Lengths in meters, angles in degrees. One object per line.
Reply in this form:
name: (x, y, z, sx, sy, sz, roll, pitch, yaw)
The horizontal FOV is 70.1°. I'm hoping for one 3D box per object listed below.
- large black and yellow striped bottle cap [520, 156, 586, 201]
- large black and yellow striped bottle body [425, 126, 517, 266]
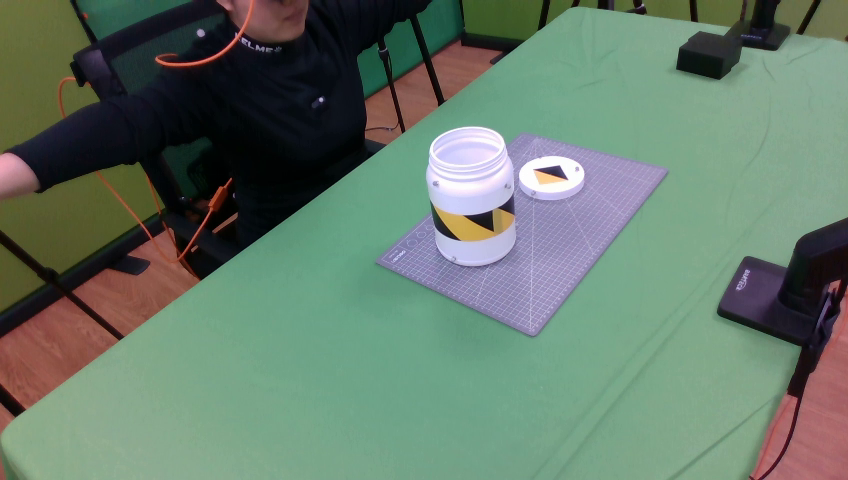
large black and yellow striped bottle cap: (0.228, -0.111, 1.072, 0.115, 0.019, 0.114, -6, 40, 6)
large black and yellow striped bottle body: (0.072, -0.066, 0.917, 0.131, 0.185, 0.130, -5, 40, 5)
